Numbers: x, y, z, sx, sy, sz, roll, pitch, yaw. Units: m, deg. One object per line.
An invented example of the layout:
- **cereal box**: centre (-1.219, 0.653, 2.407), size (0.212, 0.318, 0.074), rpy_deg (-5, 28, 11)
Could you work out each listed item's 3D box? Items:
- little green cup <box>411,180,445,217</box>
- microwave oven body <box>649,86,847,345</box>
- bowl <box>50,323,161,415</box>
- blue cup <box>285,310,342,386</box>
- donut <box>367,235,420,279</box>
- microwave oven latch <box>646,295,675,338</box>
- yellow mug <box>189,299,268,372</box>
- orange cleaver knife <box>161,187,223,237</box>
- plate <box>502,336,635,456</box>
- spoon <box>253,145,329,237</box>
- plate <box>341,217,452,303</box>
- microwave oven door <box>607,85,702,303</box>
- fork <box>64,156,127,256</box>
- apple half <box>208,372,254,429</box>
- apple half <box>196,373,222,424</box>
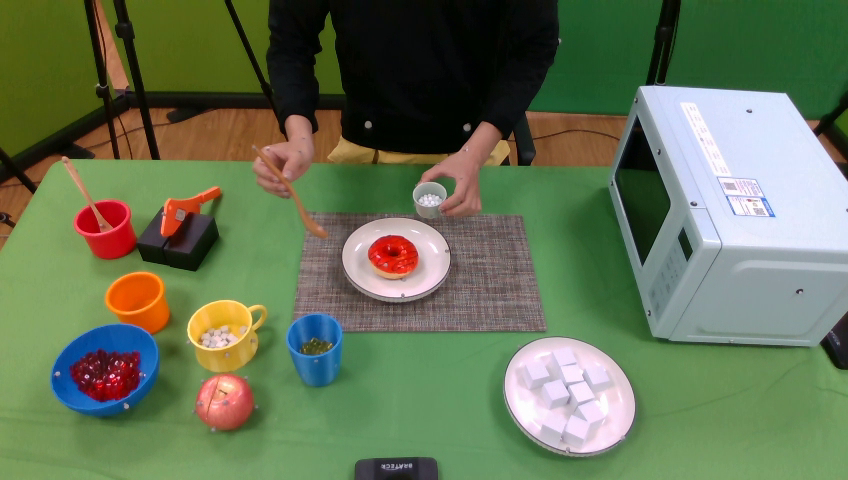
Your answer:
- **little green cup**: centre (0.010, -0.073, 1.093), size (0.061, 0.039, 0.061), rpy_deg (-3, 67, 8)
- **microwave oven body**: centre (0.568, -0.053, 1.118), size (0.326, 0.261, 0.439), rpy_deg (2, 45, -1)
- **bowl**: centre (-0.472, 0.209, 0.924), size (0.151, 0.077, 0.150), rpy_deg (3, 45, -2)
- **blue cup**: centre (-0.170, 0.180, 0.958), size (0.093, 0.101, 0.092), rpy_deg (2, 44, -2)
- **donut**: centre (-0.056, 0.032, 1.131), size (0.099, 0.048, 0.098), rpy_deg (4, 45, -3)
- **microwave oven latch**: centre (0.412, 0.134, 1.061), size (0.030, 0.029, 0.078), rpy_deg (3, 45, 0)
- **yellow mug**: centre (-0.316, 0.148, 1.002), size (0.131, 0.064, 0.099), rpy_deg (-33, 56, -31)
- **orange cleaver knife**: centre (-0.448, -0.058, 1.180), size (0.012, 0.077, 0.211), rpy_deg (13, 17, 6)
- **plate**: centre (0.225, 0.248, 0.963), size (0.208, 0.039, 0.206), rpy_deg (2, 46, -2)
- **spoon**: centre (-0.216, -0.079, 0.995), size (0.021, 0.194, 0.041), rpy_deg (-27, 26, 8)
- **plate**: centre (-0.052, 0.039, 1.140), size (0.209, 0.038, 0.208), rpy_deg (2, 46, -2)
- **microwave oven door**: centre (0.423, -0.094, 1.141), size (0.039, 0.245, 0.353), rpy_deg (2, 46, -1)
- **fork**: centre (-0.614, -0.064, 1.129), size (0.028, 0.018, 0.207), rpy_deg (-30, 97, -16)
- **apple half**: centre (-0.283, 0.244, 0.908), size (0.053, 0.075, 0.080), rpy_deg (7, 42, -1)
- **apple half**: centre (-0.322, 0.239, 0.906), size (0.033, 0.081, 0.081), rpy_deg (7, 46, 0)
